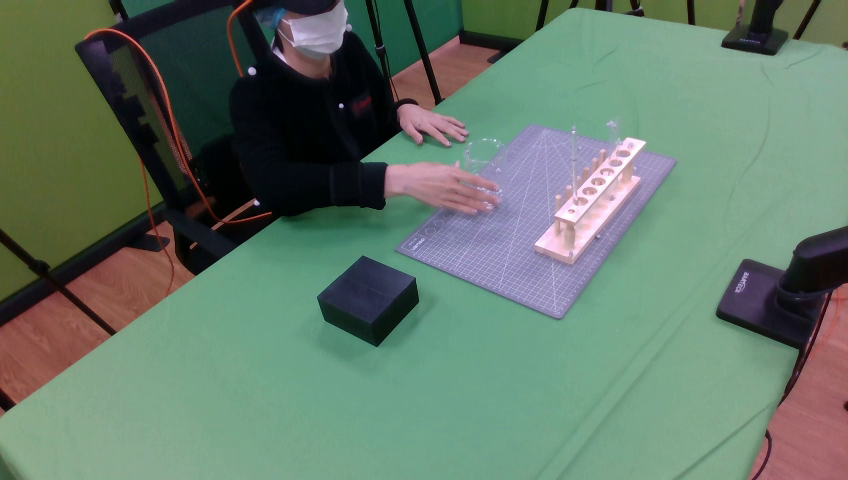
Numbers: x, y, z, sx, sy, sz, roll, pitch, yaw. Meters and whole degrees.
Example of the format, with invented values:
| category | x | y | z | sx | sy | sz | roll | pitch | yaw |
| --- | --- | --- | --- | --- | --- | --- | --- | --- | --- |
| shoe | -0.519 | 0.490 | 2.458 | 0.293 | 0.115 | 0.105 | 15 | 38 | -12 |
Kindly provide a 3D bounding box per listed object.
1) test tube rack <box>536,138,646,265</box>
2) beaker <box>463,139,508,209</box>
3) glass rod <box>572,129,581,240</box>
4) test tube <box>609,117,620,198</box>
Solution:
| category | x | y | z | sx | sy | sz | roll | pitch | yaw |
| --- | --- | --- | --- | --- | --- | --- | --- | --- | --- |
| test tube rack | 0.268 | -0.071 | 0.964 | 0.066 | 0.085 | 0.243 | 23 | 49 | 32 |
| beaker | 0.108 | -0.111 | 1.027 | 0.073 | 0.100 | 0.084 | 26 | 49 | 33 |
| glass rod | 0.220 | -0.074 | 0.871 | 0.008 | 0.201 | 0.008 | -8 | 42 | 8 |
| test tube | 0.298 | -0.125 | 0.946 | 0.017 | 0.151 | 0.017 | -8 | 42 | 8 |
